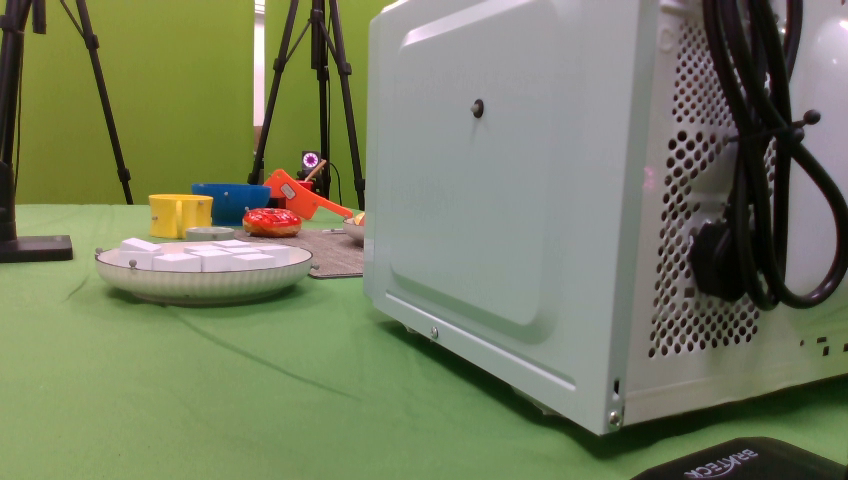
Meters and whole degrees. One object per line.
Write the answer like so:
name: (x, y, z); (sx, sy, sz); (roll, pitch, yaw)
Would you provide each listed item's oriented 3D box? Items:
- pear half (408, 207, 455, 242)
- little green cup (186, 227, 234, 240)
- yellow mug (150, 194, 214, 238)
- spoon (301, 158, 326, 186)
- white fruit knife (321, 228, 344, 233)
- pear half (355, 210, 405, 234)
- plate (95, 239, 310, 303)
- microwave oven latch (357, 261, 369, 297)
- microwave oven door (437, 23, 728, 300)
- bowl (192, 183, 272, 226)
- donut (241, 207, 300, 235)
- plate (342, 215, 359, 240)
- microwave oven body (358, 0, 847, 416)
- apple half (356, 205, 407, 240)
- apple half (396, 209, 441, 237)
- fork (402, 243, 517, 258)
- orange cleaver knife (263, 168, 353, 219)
pear half: (0.018, -0.026, 0.999); (0.076, 0.056, 0.110); (9, 7, 20)
little green cup: (-0.284, 0.005, 0.805); (0.061, 0.038, 0.061); (2, 8, 0)
yellow mug: (-0.401, -0.040, 1.003); (0.100, 0.064, 0.130); (-1, 9, -20)
spoon: (-0.320, -0.160, 1.646); (0.041, 0.022, 0.194); (8, 53, 34)
white fruit knife: (-0.098, -0.022, 1.142); (0.208, 0.016, 0.027); (-4, -21, -33)
pear half: (-0.075, -0.035, 1.045); (0.088, 0.031, 0.070); (4, 27, -8)
plate: (-0.224, 0.031, 0.629); (0.208, 0.039, 0.207); (2, 8, 0)
microwave oven latch: (-0.019, 0.033, 0.531); (0.079, 0.029, 0.030); (-1, 7, -27)
microwave oven door: (0.180, -0.072, 0.621); (0.358, 0.243, 0.039); (-2, 9, -29)
bowl: (-0.381, -0.070, 1.202); (0.151, 0.077, 0.151); (3, 7, 0)
donut: (-0.263, -0.032, 1.039); (0.099, 0.048, 0.099); (4, 9, 0)
plate: (-0.033, -0.014, 1.005); (0.209, 0.038, 0.209); (2, 8, 0)
microwave oven body: (0.211, -0.047, 0.474); (0.444, 0.260, 0.324); (-1, 7, -28)
apple half: (-0.065, -0.029, 0.970); (0.081, 0.053, 0.074); (3, 7, -26)
apple half: (-0.008, -0.036, 1.052); (0.081, 0.033, 0.081); (12, 26, -6)
fork: (0.059, 0.015, 0.899); (0.208, 0.018, 0.028); (-3, 14, -33)
orange cleaver knife: (-0.262, -0.088, 1.352); (0.211, 0.077, 0.012); (28, 13, 0)
